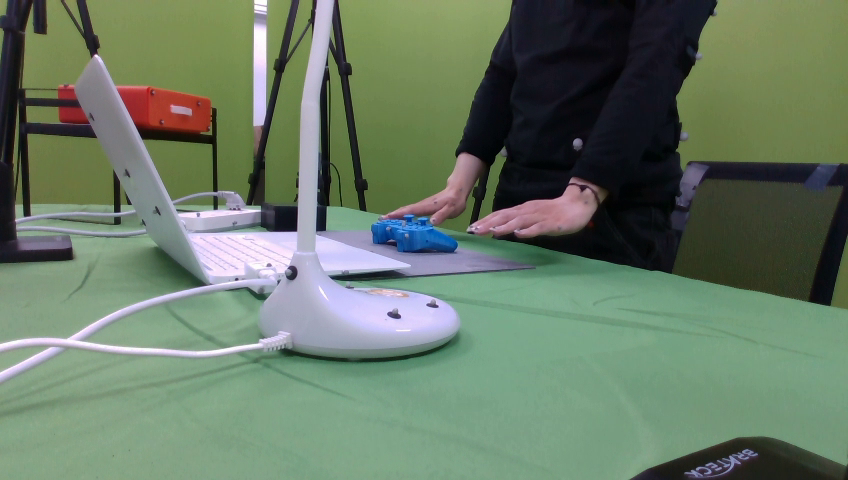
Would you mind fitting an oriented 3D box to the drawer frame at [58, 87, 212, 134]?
[{"bbox_3d":[-0.593,-0.268,1.260,0.213,0.082,0.202,4,8,14],"label":"drawer frame"}]

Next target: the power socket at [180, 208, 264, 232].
[{"bbox_3d":[-0.381,-0.038,1.128,0.072,0.032,0.227,4,8,16],"label":"power socket"}]

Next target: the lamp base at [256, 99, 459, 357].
[{"bbox_3d":[-0.055,-0.013,0.463,0.160,0.180,0.180,6,11,27],"label":"lamp base"}]

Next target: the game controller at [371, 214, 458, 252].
[{"bbox_3d":[-0.021,-0.014,0.979,0.097,0.051,0.154,-7,11,-28],"label":"game controller"}]

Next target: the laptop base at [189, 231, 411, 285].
[{"bbox_3d":[-0.204,0.019,0.807,0.237,0.023,0.352,0,7,-33],"label":"laptop base"}]

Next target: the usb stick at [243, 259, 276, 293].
[{"bbox_3d":[-0.166,0.035,0.604,0.021,0.027,0.059,-8,8,-28],"label":"usb stick"}]

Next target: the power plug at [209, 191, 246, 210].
[{"bbox_3d":[-0.388,-0.071,1.204,0.072,0.052,0.035,4,8,25],"label":"power plug"}]

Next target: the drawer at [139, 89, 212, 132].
[{"bbox_3d":[-0.588,-0.267,1.260,0.211,0.073,0.195,3,8,15],"label":"drawer"}]

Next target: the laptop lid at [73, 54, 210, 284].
[{"bbox_3d":[-0.341,-0.079,0.704,0.013,0.242,0.355,-30,23,-26],"label":"laptop lid"}]
